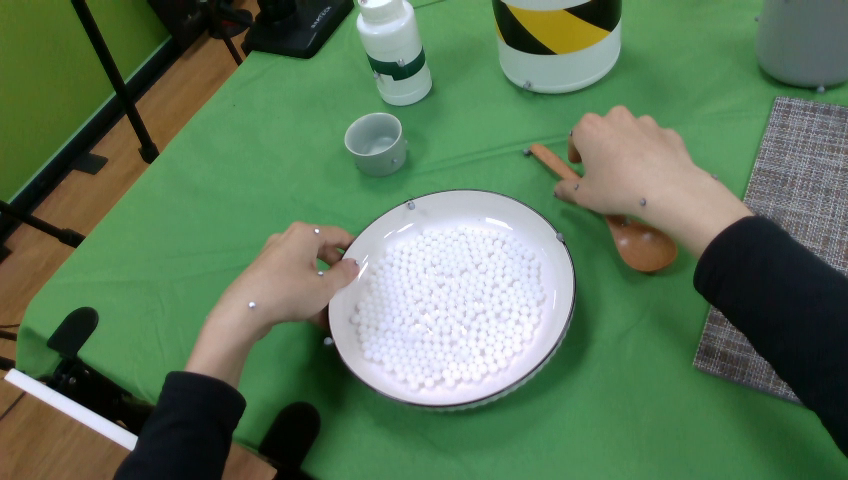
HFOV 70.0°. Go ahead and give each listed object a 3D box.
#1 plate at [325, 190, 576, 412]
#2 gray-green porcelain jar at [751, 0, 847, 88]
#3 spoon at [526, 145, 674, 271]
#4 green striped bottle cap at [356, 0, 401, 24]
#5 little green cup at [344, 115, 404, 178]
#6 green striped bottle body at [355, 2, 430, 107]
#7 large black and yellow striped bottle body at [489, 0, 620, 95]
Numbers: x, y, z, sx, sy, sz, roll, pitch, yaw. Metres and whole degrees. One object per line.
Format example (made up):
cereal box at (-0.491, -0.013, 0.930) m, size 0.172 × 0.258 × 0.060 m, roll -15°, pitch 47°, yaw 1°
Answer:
plate at (0.022, 0.048, 0.510) m, size 0.209 × 0.038 × 0.207 m, roll -7°, pitch 53°, yaw 10°
gray-green porcelain jar at (0.365, -0.213, 0.553) m, size 0.106 × 0.128 × 0.105 m, roll -7°, pitch 54°, yaw 10°
spoon at (0.150, -0.037, 0.547) m, size 0.041 × 0.022 × 0.191 m, roll -31°, pitch 53°, yaw -6°
green striped bottle cap at (-0.046, -0.239, 0.617) m, size 0.044 × 0.020 × 0.044 m, roll -5°, pitch 56°, yaw 8°
little green cup at (-0.050, -0.096, 0.632) m, size 0.061 × 0.039 × 0.061 m, roll -7°, pitch 52°, yaw 10°
green striped bottle body at (-0.035, -0.209, 0.658) m, size 0.063 × 0.120 × 0.062 m, roll -7°, pitch 53°, yaw 10°
large black and yellow striped bottle body at (0.129, -0.255, 0.608) m, size 0.130 × 0.186 × 0.129 m, roll -7°, pitch 54°, yaw 10°
